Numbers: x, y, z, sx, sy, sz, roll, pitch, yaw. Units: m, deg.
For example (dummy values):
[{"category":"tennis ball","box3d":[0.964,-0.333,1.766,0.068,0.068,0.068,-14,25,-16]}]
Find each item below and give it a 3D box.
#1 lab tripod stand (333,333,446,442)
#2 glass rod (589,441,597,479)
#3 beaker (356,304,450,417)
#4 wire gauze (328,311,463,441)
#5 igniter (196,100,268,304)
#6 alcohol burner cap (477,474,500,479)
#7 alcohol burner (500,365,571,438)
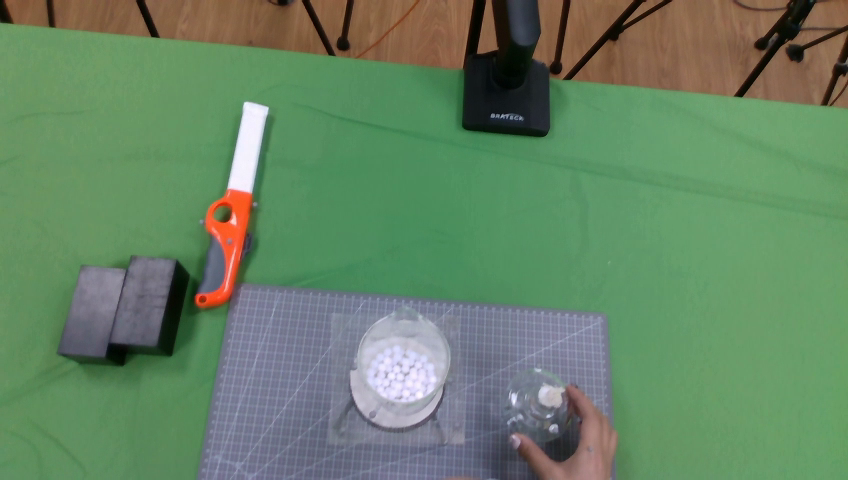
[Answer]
[{"category":"lab tripod stand","box3d":[-0.030,0.152,0.623,0.148,0.132,0.147,1,67,-2]},{"category":"glass rod","box3d":[0.183,0.317,0.643,0.008,0.008,0.198,4,68,-3]},{"category":"beaker","box3d":[-0.019,0.108,0.518,0.074,0.101,0.083,2,66,-4]},{"category":"wire gauze","box3d":[-0.027,0.124,0.563,0.125,0.011,0.120,1,66,-3]},{"category":"igniter","box3d":[-0.232,-0.052,0.747,0.057,0.025,0.274,12,67,-16]},{"category":"alcohol burner cap","box3d":[0.054,0.226,0.522,0.034,0.048,0.034,0,88,12]},{"category":"alcohol burner","box3d":[0.121,0.168,0.641,0.078,0.120,0.077,1,66,-2]}]
